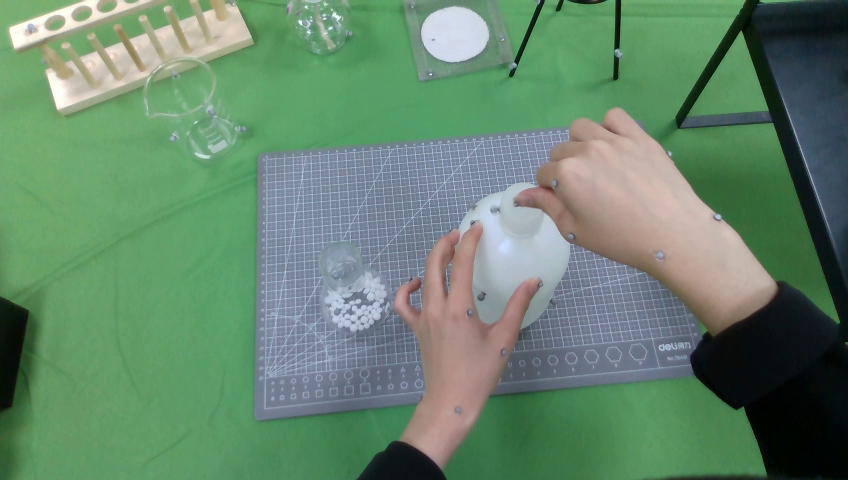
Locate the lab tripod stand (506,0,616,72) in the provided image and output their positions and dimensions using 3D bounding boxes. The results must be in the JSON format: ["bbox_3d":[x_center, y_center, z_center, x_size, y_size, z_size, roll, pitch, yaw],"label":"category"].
[{"bbox_3d":[0.167,-0.264,0.694,0.148,0.132,0.147,1,67,-1],"label":"lab tripod stand"}]

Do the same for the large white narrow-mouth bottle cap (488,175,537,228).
[{"bbox_3d":[0.068,-0.029,0.463,0.038,0.024,0.037,-1,68,3],"label":"large white narrow-mouth bottle cap"}]

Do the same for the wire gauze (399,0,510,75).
[{"bbox_3d":[0.037,-0.268,0.763,0.121,0.011,0.124,-10,68,-5],"label":"wire gauze"}]

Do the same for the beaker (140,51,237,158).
[{"bbox_3d":[-0.255,-0.141,0.663,0.073,0.101,0.084,39,73,16],"label":"beaker"}]

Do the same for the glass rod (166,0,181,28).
[{"bbox_3d":[-0.298,-0.307,0.666,0.008,0.201,0.008,2,65,-4],"label":"glass rod"}]

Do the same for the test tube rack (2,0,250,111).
[{"bbox_3d":[-0.341,-0.245,0.713,0.242,0.086,0.066,-24,70,-10],"label":"test tube rack"}]

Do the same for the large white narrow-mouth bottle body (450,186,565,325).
[{"bbox_3d":[0.074,0.008,0.549,0.102,0.196,0.101,-1,68,3],"label":"large white narrow-mouth bottle body"}]

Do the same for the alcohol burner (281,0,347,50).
[{"bbox_3d":[-0.132,-0.284,0.713,0.078,0.120,0.077,0,66,0],"label":"alcohol burner"}]

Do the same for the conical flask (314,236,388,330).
[{"bbox_3d":[-0.075,0.036,0.575,0.075,0.123,0.075,0,67,1],"label":"conical flask"}]
